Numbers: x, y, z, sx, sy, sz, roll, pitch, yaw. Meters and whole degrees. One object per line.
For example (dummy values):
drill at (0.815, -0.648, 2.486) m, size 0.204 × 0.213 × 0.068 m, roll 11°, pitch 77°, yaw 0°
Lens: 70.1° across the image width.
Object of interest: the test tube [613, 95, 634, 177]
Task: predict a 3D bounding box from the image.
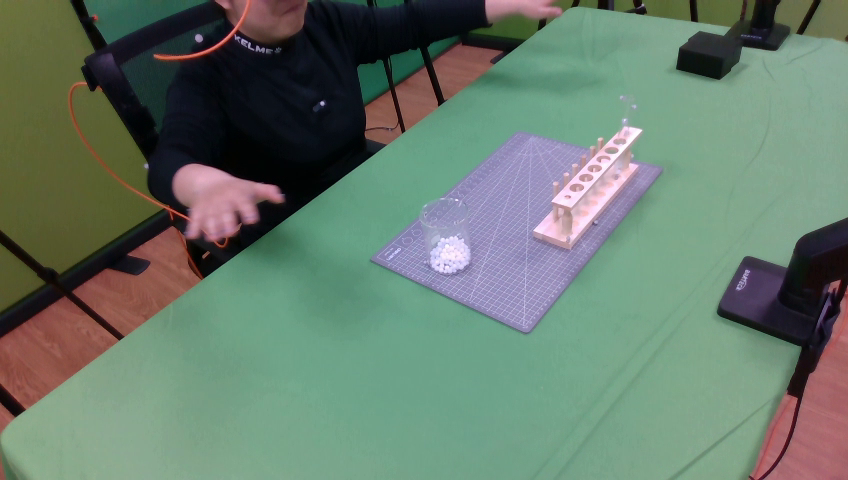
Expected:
test tube at (0.324, -0.166, 0.987) m, size 0.017 × 0.151 × 0.017 m, roll -4°, pitch 42°, yaw 4°

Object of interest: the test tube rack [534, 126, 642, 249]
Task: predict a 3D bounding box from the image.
test tube rack at (0.271, -0.095, 0.989) m, size 0.066 × 0.085 × 0.243 m, roll 23°, pitch 49°, yaw 33°

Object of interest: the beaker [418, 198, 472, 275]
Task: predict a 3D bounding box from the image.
beaker at (0.037, -0.004, 0.916) m, size 0.073 × 0.101 × 0.084 m, roll 24°, pitch 49°, yaw 33°
